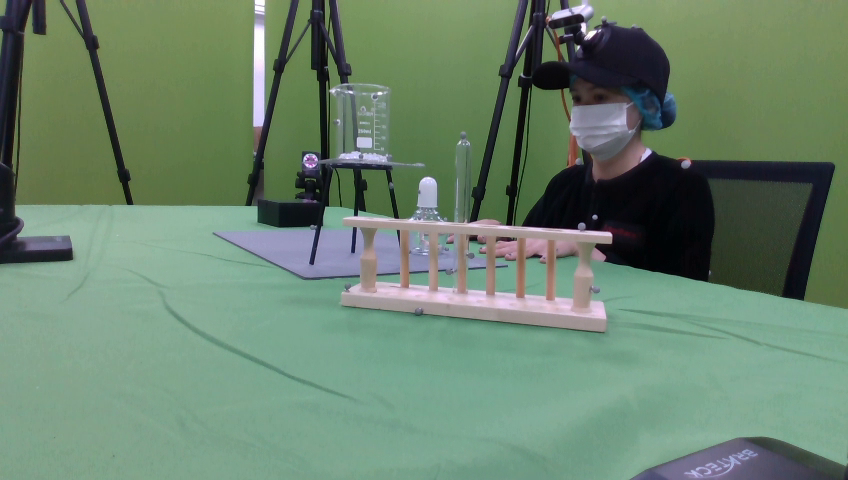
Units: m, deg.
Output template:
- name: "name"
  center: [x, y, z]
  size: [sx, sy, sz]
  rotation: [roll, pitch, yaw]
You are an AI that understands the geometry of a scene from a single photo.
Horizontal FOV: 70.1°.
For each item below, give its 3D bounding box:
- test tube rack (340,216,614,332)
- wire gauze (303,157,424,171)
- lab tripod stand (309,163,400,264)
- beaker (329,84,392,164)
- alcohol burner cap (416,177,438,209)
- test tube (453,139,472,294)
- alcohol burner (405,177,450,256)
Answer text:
- name: "test tube rack"
  center: [0.048, 0.026, 0.568]
  size: [0.242, 0.085, 0.067]
  rotation: [4, 8, 13]
- name: "wire gauze"
  center: [-0.082, -0.101, 0.799]
  size: [0.126, 0.011, 0.121]
  rotation: [1, 7, -30]
- name: "lab tripod stand"
  center: [-0.091, -0.037, 0.813]
  size: [0.148, 0.131, 0.148]
  rotation: [1, 6, 0]
- name: "beaker"
  center: [-0.084, -0.149, 0.794]
  size: [0.084, 0.100, 0.073]
  rotation: [-1, 6, -23]
- name: "alcohol burner cap"
  center: [0.005, -0.072, 0.914]
  size: [0.034, 0.048, 0.034]
  rotation: [3, 9, 0]
- name: "test tube"
  center: [0.037, -0.021, 0.584]
  size: [0.017, 0.150, 0.017]
  rotation: [1, 7, 0]
- name: "alcohol burner"
  center: [0.004, -0.036, 0.917]
  size: [0.078, 0.119, 0.078]
  rotation: [3, 5, 0]
